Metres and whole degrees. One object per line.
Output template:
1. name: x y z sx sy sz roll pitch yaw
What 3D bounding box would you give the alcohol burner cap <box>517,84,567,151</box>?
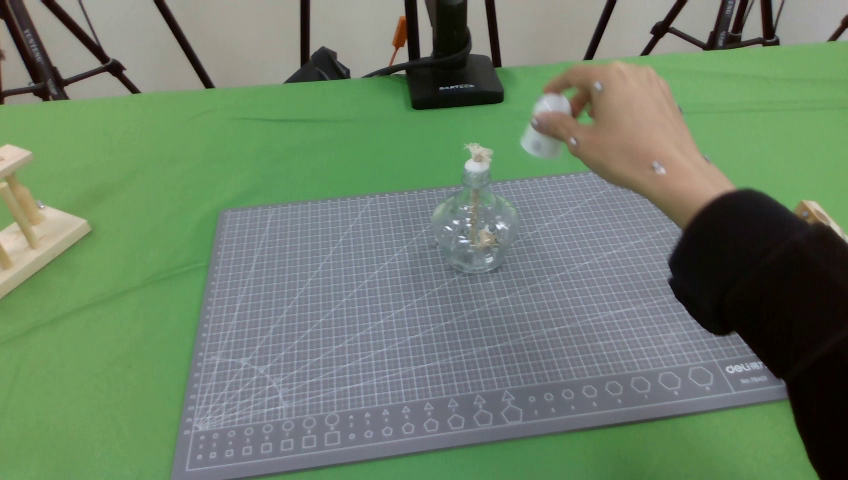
1. alcohol burner cap: 0.090 -0.094 0.456 0.034 0.048 0.033 4 46 -4

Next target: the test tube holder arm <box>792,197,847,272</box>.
1. test tube holder arm: 0.323 -0.003 0.482 0.010 0.015 0.087 1 42 -9

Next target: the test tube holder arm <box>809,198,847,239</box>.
1. test tube holder arm: 0.333 0.027 0.450 0.013 0.015 0.176 0 42 -9

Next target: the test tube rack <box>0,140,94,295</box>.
1. test tube rack: -0.412 0.018 0.507 0.066 0.086 0.241 18 45 20

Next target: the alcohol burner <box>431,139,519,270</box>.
1. alcohol burner: 0.044 -0.033 0.523 0.078 0.120 0.077 -2 40 2
